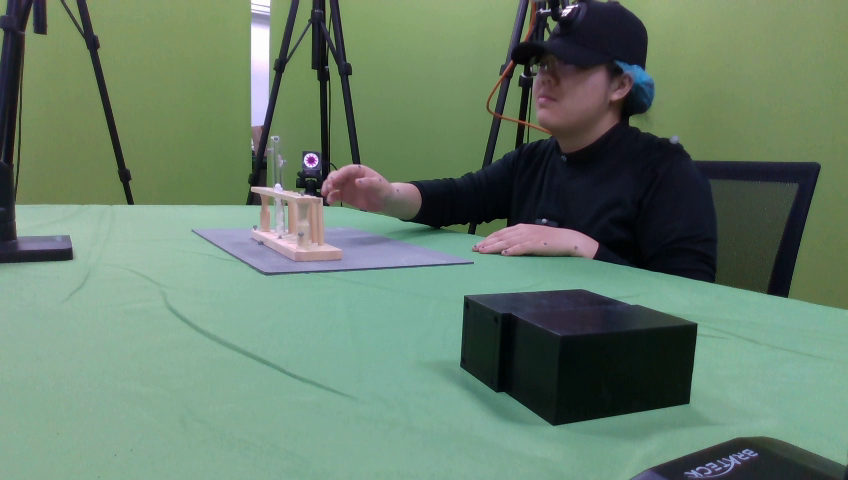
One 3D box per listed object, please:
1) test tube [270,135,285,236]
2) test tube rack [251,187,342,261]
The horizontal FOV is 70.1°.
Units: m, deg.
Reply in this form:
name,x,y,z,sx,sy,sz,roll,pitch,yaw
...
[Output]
name,x,y,z,sx,sy,sz,roll,pitch,yaw
test tube,-0.218,-0.081,0.904,0.017,0.150,0.017,-2,4,0
test tube rack,-0.196,-0.030,0.902,0.067,0.085,0.241,-2,8,-29
